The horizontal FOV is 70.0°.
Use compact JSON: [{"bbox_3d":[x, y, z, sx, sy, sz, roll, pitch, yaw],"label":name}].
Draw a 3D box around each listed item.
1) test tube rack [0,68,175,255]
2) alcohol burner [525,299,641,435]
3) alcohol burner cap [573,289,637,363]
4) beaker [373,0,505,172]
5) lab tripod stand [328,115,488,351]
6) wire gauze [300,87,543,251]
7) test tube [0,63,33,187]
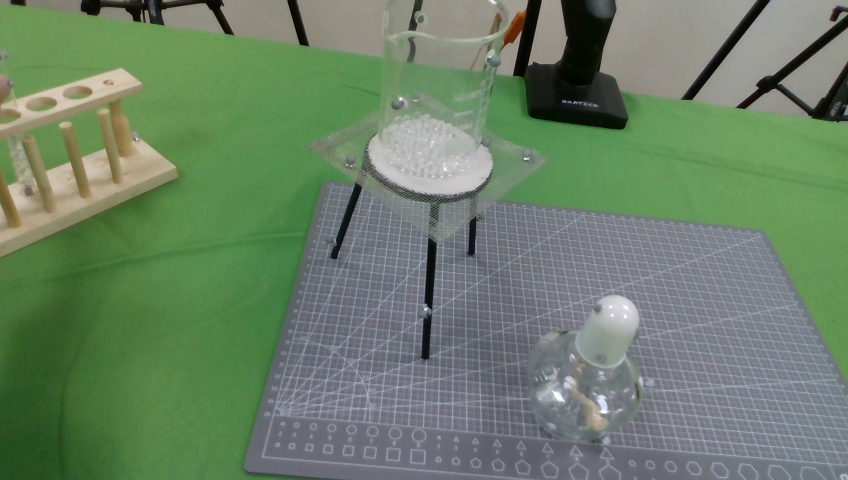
[{"bbox_3d":[-0.331,-0.050,0.480,0.066,0.086,0.242,34,48,24],"label":"test tube rack"},{"bbox_3d":[0.109,0.076,0.399,0.078,0.120,0.077,6,43,-5],"label":"alcohol burner"},{"bbox_3d":[0.113,0.051,0.373,0.034,0.048,0.033,3,48,-2],"label":"alcohol burner cap"},{"bbox_3d":[0.003,-0.099,0.382,0.084,0.101,0.073,-29,56,-31],"label":"beaker"},{"bbox_3d":[-0.005,-0.012,0.457,0.148,0.132,0.147,6,44,-6],"label":"lab tripod stand"},{"bbox_3d":[0.000,-0.059,0.412,0.124,0.011,0.121,37,52,21],"label":"wire gauze"},{"bbox_3d":[-0.325,-0.104,0.465,0.017,0.151,0.017,7,39,-6],"label":"test tube"}]
